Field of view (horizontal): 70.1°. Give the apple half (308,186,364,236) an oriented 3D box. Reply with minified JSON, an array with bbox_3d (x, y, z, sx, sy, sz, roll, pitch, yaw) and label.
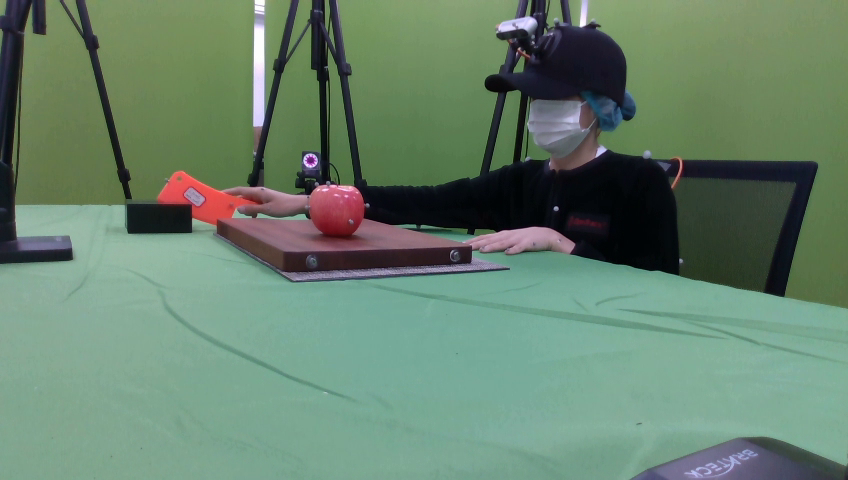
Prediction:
[{"bbox_3d":[-0.123,-0.041,0.874,0.081,0.074,0.053,3,10,-31],"label":"apple half"}]

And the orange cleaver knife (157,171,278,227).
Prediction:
[{"bbox_3d":[-0.378,-0.064,1.119,0.212,0.077,0.012,19,-2,-32],"label":"orange cleaver knife"}]

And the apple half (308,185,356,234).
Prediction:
[{"bbox_3d":[-0.143,-0.047,0.907,0.082,0.081,0.032,-1,12,-31],"label":"apple half"}]
